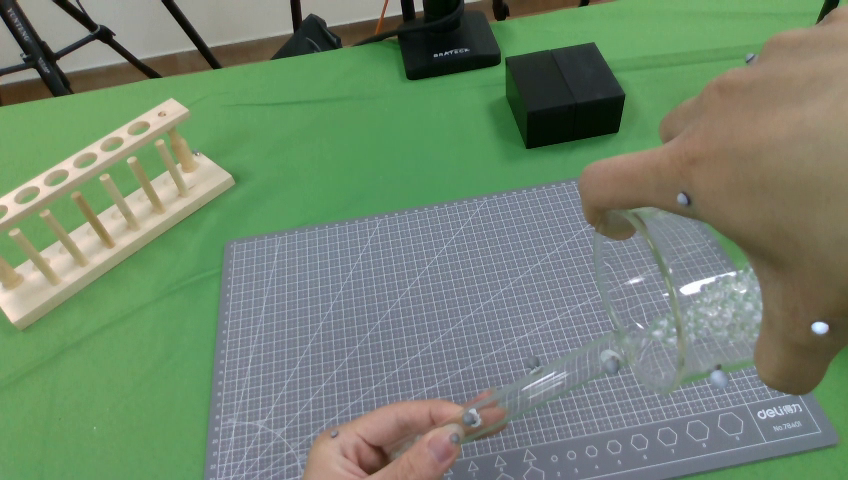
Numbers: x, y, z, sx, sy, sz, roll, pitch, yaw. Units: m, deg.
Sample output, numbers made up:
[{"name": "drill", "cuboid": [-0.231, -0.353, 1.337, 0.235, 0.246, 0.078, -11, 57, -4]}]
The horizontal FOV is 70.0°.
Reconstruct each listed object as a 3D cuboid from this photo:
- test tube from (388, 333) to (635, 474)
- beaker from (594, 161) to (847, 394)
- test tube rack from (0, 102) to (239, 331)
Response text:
[{"name": "test tube", "cuboid": [0.036, 0.085, 0.301, 0.150, 0.017, 0.017, -36, 42, 28]}, {"name": "beaker", "cuboid": [0.129, 0.014, 0.239, 0.100, 0.085, 0.073, -14, 55, -3]}, {"name": "test tube rack", "cuboid": [-0.311, -0.029, 0.591, 0.066, 0.086, 0.242, 33, 61, 31]}]
